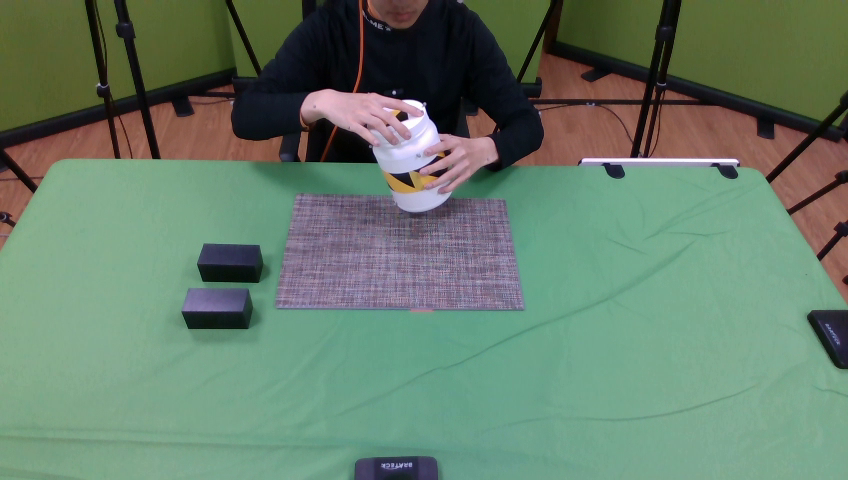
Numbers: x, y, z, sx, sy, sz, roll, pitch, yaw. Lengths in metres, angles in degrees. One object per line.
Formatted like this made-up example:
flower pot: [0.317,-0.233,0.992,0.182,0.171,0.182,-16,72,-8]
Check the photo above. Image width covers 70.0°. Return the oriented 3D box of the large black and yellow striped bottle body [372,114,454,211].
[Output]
large black and yellow striped bottle body: [-0.024,-0.162,1.185,0.131,0.185,0.130,-12,42,12]

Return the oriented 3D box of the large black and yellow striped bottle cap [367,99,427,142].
large black and yellow striped bottle cap: [-0.051,-0.223,1.127,0.115,0.019,0.114,-11,42,10]
